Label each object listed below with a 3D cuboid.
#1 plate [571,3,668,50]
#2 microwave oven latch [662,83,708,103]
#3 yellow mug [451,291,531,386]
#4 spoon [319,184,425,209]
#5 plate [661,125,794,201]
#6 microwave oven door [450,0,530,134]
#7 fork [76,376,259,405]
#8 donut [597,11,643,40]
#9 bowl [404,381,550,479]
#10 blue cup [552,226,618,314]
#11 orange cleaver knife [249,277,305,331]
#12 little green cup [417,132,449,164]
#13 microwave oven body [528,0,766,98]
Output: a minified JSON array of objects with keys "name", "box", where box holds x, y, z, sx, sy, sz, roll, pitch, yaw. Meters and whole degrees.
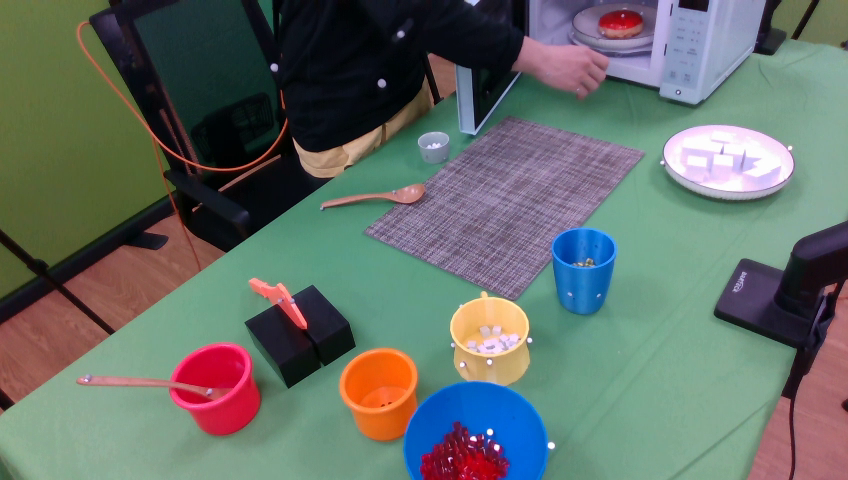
[{"name":"plate","box":[0.436,-0.476,1.357,0.209,0.038,0.208,-5,41,5]},{"name":"microwave oven latch","box":[0.518,-0.297,1.204,0.078,0.029,0.030,29,53,36]},{"name":"yellow mug","box":[0.085,0.120,0.786,0.100,0.064,0.130,-7,39,1]},{"name":"spoon","box":[-0.094,-0.076,1.074,0.193,0.022,0.041,-5,56,5]},{"name":"plate","box":[0.513,-0.128,1.035,0.207,0.039,0.206,-4,40,4]},{"name":"microwave oven door","box":[0.146,-0.412,1.239,0.039,0.245,0.356,13,44,23]},{"name":"fork","box":[-0.295,0.176,0.716,0.209,0.018,0.028,20,27,-37]},{"name":"donut","box":[0.435,-0.479,1.347,0.099,0.048,0.098,-4,39,4]},{"name":"bowl","box":[0.058,0.235,0.645,0.151,0.077,0.150,-4,39,4]},{"name":"blue cup","box":[0.218,0.047,0.825,0.092,0.101,0.092,-6,39,5]},{"name":"orange cleaver knife","box":[-0.210,0.088,0.856,0.012,0.077,0.210,-28,15,-25]},{"name":"little green cup","box":[0.019,-0.177,1.168,0.061,0.039,0.061,-2,41,3]},{"name":"microwave oven body","box":[0.472,-0.513,1.317,0.438,0.261,0.327,26,51,34]}]
